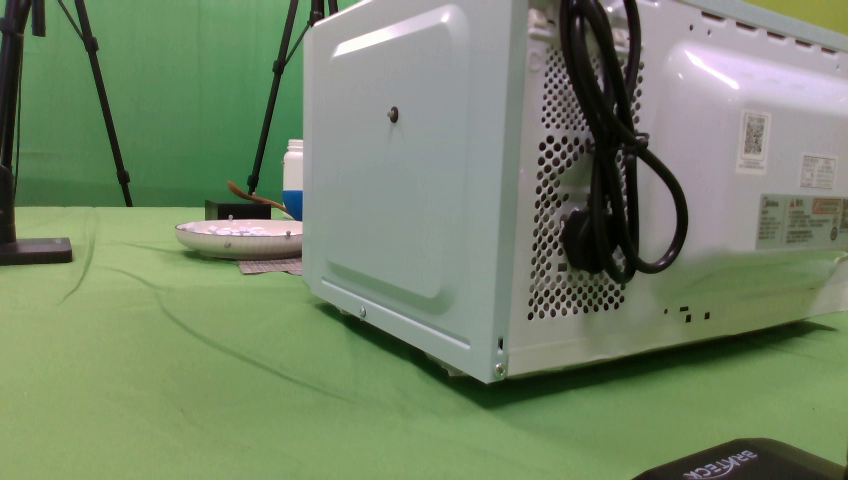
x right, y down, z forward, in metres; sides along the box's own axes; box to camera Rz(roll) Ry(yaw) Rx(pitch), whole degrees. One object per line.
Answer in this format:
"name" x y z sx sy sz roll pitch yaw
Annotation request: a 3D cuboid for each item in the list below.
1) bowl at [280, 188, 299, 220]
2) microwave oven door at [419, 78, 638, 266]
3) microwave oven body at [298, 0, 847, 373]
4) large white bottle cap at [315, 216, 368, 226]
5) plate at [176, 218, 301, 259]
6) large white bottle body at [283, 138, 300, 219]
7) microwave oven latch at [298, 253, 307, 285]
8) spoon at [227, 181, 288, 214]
"bowl" -0.192 -0.054 1.130 0.151 0.077 0.151 3 7 0
"microwave oven door" 0.133 -0.105 0.894 0.354 0.243 0.039 9 10 43
"microwave oven body" 0.151 -0.055 0.542 0.444 0.260 0.324 -2 7 -33
"large white bottle cap" -0.177 -0.042 1.309 0.115 0.018 0.115 2 5 0
"plate" -0.248 -0.003 0.877 0.209 0.038 0.209 1 8 0
"large white bottle body" -0.265 -0.144 1.424 0.131 0.184 0.130 2 7 0
"microwave oven latch" -0.081 0.027 0.582 0.079 0.029 0.030 -1 7 -32
"spoon" -0.315 -0.074 1.235 0.195 0.021 0.041 24 -10 -37
